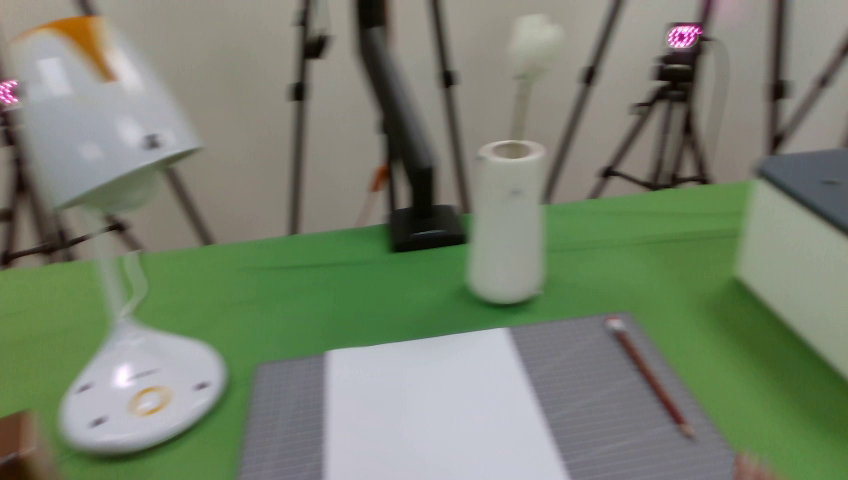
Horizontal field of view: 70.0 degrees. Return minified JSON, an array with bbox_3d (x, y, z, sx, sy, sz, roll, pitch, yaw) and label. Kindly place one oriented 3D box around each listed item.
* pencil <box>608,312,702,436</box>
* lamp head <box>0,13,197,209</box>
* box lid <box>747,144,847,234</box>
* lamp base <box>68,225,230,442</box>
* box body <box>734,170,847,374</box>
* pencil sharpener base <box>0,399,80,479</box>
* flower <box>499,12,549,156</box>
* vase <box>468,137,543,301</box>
[{"bbox_3d":[0.241,0.136,0.646,0.012,0.012,0.192,-7,30,-7],"label":"pencil"},{"bbox_3d":[-0.246,-0.097,0.440,0.112,0.123,0.112,-28,9,5],"label":"lamp head"},{"bbox_3d":[0.538,-0.024,0.600,0.264,0.015,0.367,-7,30,-6],"label":"box lid"},{"bbox_3d":[-0.304,0.083,0.621,0.161,0.181,0.177,-25,34,-33],"label":"lamp base"},{"bbox_3d":[0.543,0.040,0.640,0.254,0.161,0.360,-7,29,-6],"label":"box body"},{"bbox_3d":[-0.336,0.197,0.493,0.077,0.108,0.060,-18,33,-24],"label":"pencil sharpener base"},{"bbox_3d":[0.094,-0.084,0.698,0.044,0.365,0.038,28,53,21],"label":"flower"},{"bbox_3d":[0.101,-0.023,0.758,0.098,0.201,0.097,-3,29,2],"label":"vase"}]
